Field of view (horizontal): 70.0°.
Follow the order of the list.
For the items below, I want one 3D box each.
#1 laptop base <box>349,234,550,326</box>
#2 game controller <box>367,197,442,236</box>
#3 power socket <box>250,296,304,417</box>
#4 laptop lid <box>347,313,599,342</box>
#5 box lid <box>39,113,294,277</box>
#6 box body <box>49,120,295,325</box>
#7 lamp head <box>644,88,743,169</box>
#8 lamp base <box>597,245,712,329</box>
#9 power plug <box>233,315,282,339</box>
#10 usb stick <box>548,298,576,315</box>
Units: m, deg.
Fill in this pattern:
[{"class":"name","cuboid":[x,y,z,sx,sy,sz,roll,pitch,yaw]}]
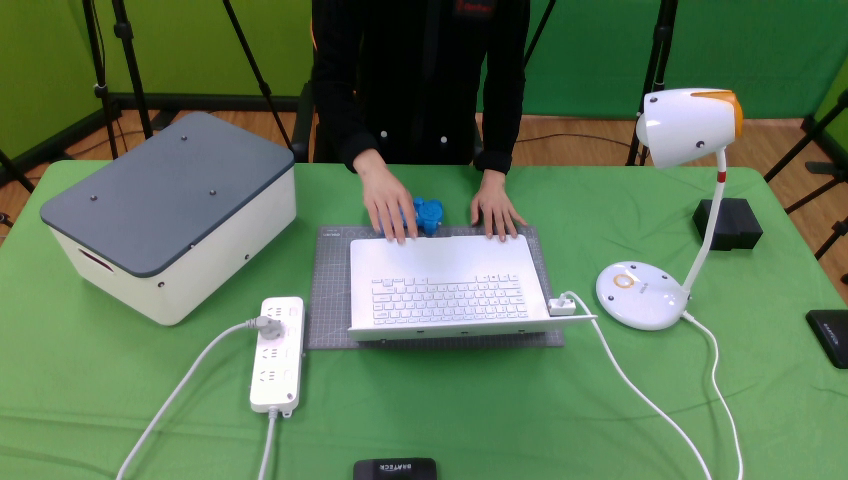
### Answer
[{"class":"laptop base","cuboid":[0.040,0.080,1.125,0.355,0.023,0.234,-2,43,-6]},{"class":"game controller","cuboid":[-0.037,-0.057,1.231,0.155,0.052,0.096,-2,49,-5]},{"class":"power socket","cuboid":[-0.239,0.182,0.996,0.072,0.033,0.225,-2,47,-5]},{"class":"laptop lid","cuboid":[0.062,0.138,0.932,0.357,0.242,0.013,-2,77,-8]},{"class":"box lid","cuboid":[-0.435,-0.096,1.056,0.262,0.015,0.370,25,48,18]},{"class":"box body","cuboid":[-0.437,-0.046,1.110,0.253,0.161,0.363,24,49,19]},{"class":"lamp head","cuboid":[0.380,-0.161,0.851,0.122,0.113,0.112,-4,42,25]},{"class":"lamp base","cuboid":[0.418,0.051,1.071,0.179,0.181,0.160,22,49,13]},{"class":"power plug","cuboid":[-0.271,0.144,1.000,0.072,0.053,0.035,6,46,3]},{"class":"usb stick","cuboid":[0.240,0.119,1.086,0.059,0.027,0.021,-2,52,-2]}]
